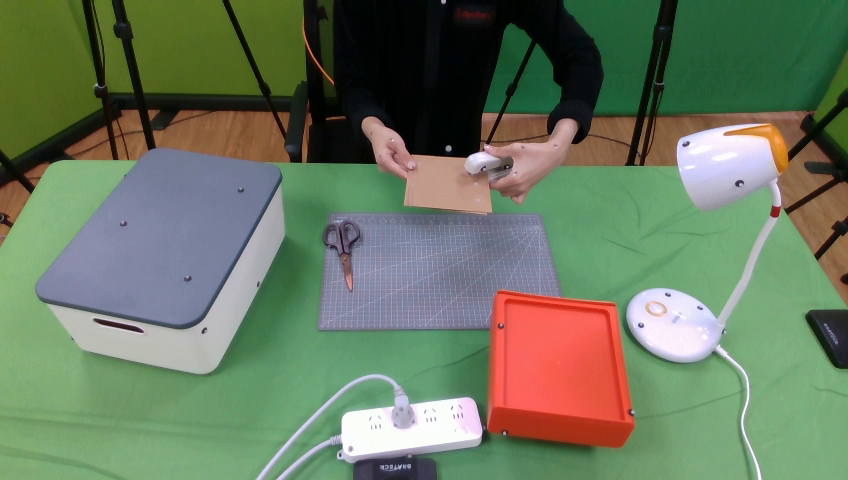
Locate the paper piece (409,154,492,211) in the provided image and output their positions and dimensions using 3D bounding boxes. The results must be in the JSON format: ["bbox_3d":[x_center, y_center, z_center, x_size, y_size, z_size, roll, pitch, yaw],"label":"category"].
[{"bbox_3d":[0.042,-0.098,1.008,0.136,0.009,0.137,7,44,-7],"label":"paper piece"}]

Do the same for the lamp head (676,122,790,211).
[{"bbox_3d":[0.423,-0.104,0.819,0.122,0.113,0.112,-13,33,40],"label":"lamp head"}]

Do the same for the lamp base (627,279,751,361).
[{"bbox_3d":[0.460,0.100,1.027,0.178,0.181,0.160,27,51,17],"label":"lamp base"}]

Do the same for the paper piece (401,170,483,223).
[{"bbox_3d":[0.036,-0.086,1.010,0.135,0.004,0.135,13,44,-1],"label":"paper piece"}]

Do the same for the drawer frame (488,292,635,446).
[{"bbox_3d":[0.204,0.191,0.931,0.202,0.083,0.212,7,45,2],"label":"drawer frame"}]

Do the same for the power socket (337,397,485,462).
[{"bbox_3d":[-0.018,0.285,0.915,0.227,0.033,0.071,-4,46,-8],"label":"power socket"}]

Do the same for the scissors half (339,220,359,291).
[{"bbox_3d":[-0.144,0.026,1.162,0.040,0.013,0.174,-7,50,1],"label":"scissors half"}]

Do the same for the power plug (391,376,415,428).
[{"bbox_3d":[-0.031,0.249,0.917,0.035,0.053,0.072,3,46,-1],"label":"power plug"}]

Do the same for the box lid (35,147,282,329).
[{"bbox_3d":[-0.411,-0.023,0.987,0.263,0.015,0.369,10,47,5],"label":"box lid"}]

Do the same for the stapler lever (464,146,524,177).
[{"bbox_3d":[0.121,-0.140,1.036,0.118,0.040,0.026,-23,58,-24],"label":"stapler lever"}]

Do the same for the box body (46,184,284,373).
[{"bbox_3d":[-0.414,0.029,1.040,0.254,0.161,0.362,10,46,5],"label":"box body"}]

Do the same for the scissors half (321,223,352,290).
[{"bbox_3d":[-0.163,0.030,1.159,0.040,0.013,0.174,-16,51,-14],"label":"scissors half"}]

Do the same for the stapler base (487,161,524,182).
[{"bbox_3d":[0.117,-0.126,1.051,0.131,0.024,0.041,-20,57,-28],"label":"stapler base"}]

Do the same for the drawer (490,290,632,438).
[{"bbox_3d":[0.203,0.185,0.934,0.194,0.073,0.210,7,47,1],"label":"drawer"}]
